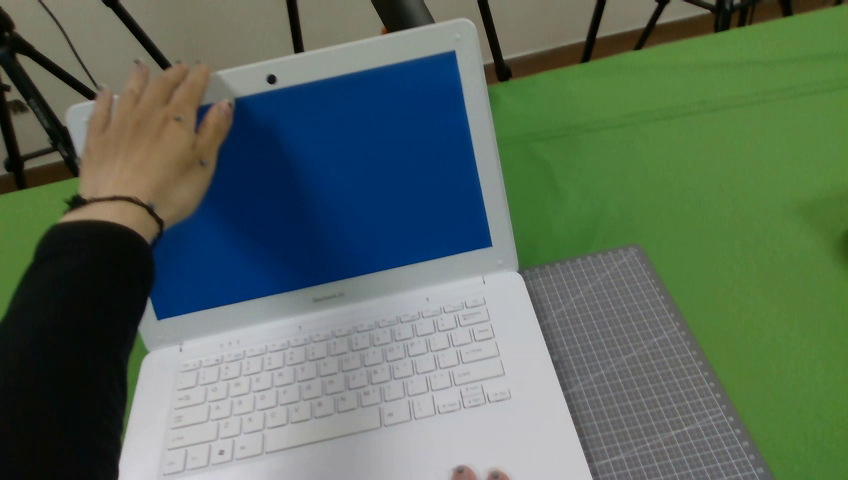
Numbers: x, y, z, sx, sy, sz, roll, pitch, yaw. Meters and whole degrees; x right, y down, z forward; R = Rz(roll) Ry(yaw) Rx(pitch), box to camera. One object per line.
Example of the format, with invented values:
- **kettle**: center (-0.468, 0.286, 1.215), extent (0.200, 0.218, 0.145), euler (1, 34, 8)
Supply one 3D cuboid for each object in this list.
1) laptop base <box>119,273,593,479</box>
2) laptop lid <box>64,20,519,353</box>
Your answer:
- **laptop base**: center (-0.066, 0.151, 0.478), extent (0.354, 0.023, 0.233), euler (-13, 47, 0)
- **laptop lid**: center (-0.107, -0.037, 0.533), extent (0.357, 0.243, 0.013), euler (-14, 15, 1)
